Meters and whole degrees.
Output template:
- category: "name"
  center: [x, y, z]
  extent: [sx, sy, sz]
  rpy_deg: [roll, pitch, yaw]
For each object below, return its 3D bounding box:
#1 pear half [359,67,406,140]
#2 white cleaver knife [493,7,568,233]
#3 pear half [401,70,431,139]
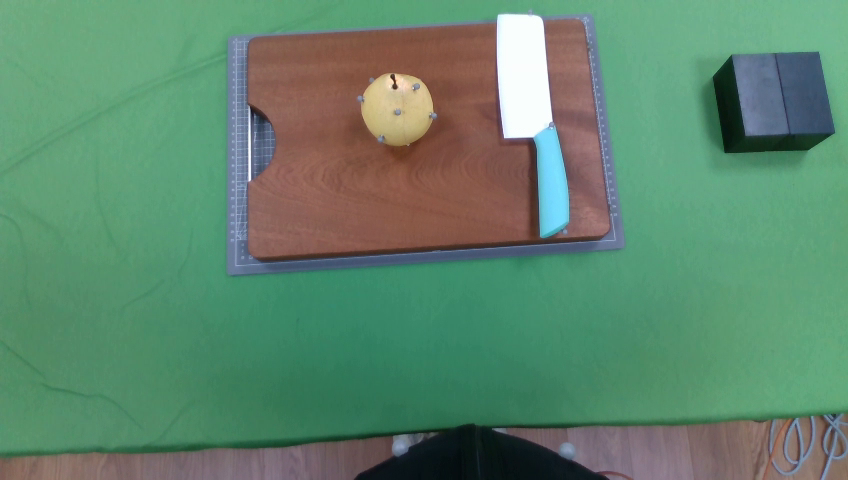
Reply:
- category: "pear half"
  center: [-0.043, -0.151, 0.640]
  extent: [0.056, 0.110, 0.076]
  rpy_deg: [-1, 72, 1]
- category: "white cleaver knife"
  center: [0.118, -0.143, 0.689]
  extent: [0.066, 0.022, 0.284]
  rpy_deg: [-5, 72, 4]
- category: "pear half"
  center: [-0.008, -0.148, 0.650]
  extent: [0.031, 0.088, 0.070]
  rpy_deg: [0, 72, 0]
